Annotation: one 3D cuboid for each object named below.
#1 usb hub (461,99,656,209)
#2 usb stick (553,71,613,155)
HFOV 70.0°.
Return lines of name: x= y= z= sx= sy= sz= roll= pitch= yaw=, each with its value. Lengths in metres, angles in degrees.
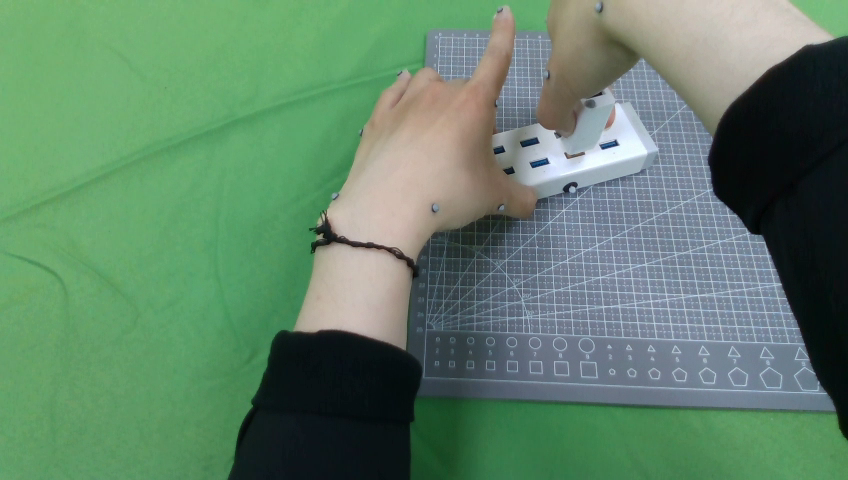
usb hub: x=0.091 y=-0.061 z=0.419 sx=0.125 sy=0.025 sz=0.049 roll=-14 pitch=63 yaw=-9
usb stick: x=0.100 y=-0.077 z=0.388 sx=0.021 sy=0.059 sz=0.027 roll=-21 pitch=60 yaw=-11
